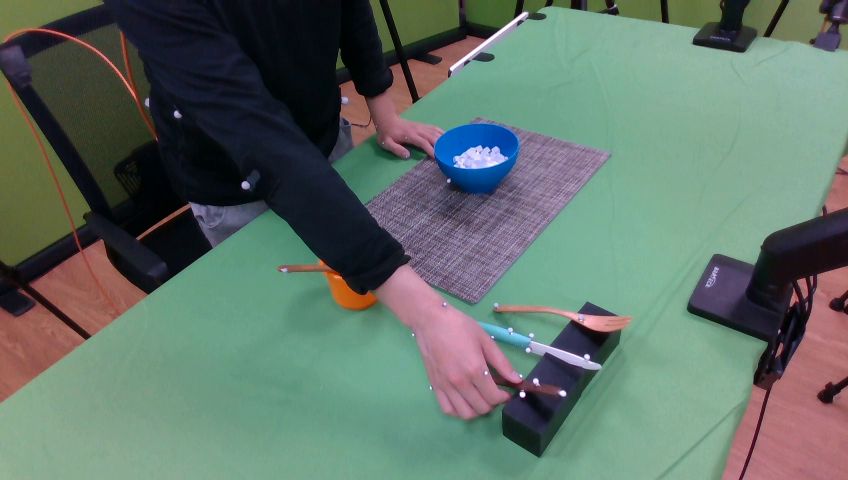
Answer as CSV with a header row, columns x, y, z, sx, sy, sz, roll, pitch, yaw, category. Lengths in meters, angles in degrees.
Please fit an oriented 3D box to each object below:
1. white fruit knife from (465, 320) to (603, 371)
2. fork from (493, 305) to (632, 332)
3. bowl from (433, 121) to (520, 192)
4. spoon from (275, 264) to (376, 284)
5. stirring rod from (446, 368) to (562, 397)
x,y,z,sx,sy,sz,roll,pitch,yaw,category
0.129,0.130,0.750,0.205,0.027,0.016,10,45,44,white fruit knife
0.171,0.097,0.783,0.205,0.019,0.028,4,41,43,fork
0.094,-0.137,1.064,0.151,0.077,0.150,-4,41,4,bowl
-0.133,0.044,0.839,0.041,0.195,0.021,25,95,33,spoon
0.089,0.167,0.718,0.175,0.006,0.014,-3,29,48,stirring rod
